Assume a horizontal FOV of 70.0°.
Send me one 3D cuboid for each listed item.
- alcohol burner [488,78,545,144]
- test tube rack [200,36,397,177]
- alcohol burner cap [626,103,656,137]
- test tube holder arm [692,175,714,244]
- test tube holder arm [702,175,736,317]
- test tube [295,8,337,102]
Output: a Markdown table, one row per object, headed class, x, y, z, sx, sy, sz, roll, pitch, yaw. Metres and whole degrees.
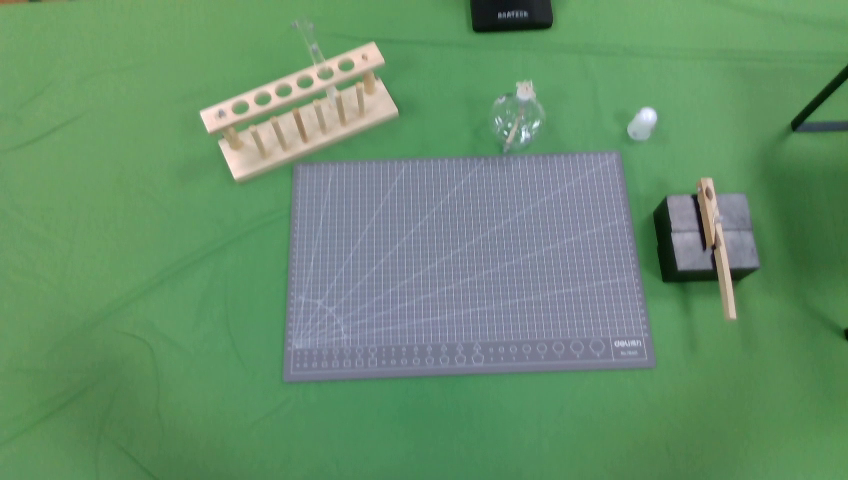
| class | x | y | z | sx | sy | sz | roll | pitch | yaw |
| --- | --- | --- | --- | --- | --- | --- | --- | --- | --- |
| alcohol burner | 0.124 | -0.177 | 0.795 | 0.078 | 0.120 | 0.077 | 0 | 71 | 0 |
| test tube rack | -0.161 | -0.177 | 0.810 | 0.242 | 0.086 | 0.066 | -25 | 71 | -9 |
| alcohol burner cap | 0.299 | -0.167 | 0.829 | 0.034 | 0.048 | 0.033 | -1 | 69 | 2 |
| test tube holder arm | 0.344 | -0.038 | 0.743 | 0.010 | 0.015 | 0.087 | -3 | 72 | -2 |
| test tube holder arm | 0.352 | 0.005 | 0.729 | 0.013 | 0.015 | 0.177 | -3 | 72 | -2 |
| test tube | -0.133 | -0.231 | 0.774 | 0.017 | 0.151 | 0.017 | -4 | 60 | 8 |
